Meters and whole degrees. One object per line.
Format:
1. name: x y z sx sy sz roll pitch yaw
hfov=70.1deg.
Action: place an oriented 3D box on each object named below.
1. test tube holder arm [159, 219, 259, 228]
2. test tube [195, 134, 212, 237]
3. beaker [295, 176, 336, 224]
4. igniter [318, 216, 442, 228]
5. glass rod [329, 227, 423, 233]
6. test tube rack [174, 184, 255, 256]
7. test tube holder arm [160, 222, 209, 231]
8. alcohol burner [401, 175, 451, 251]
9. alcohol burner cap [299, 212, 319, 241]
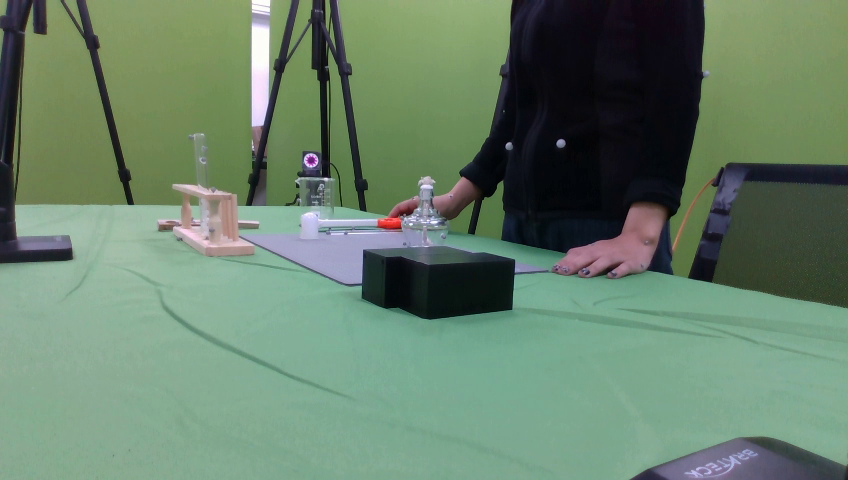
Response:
1. test tube holder arm: -0.390 -0.030 1.107 0.179 0.015 0.013 -3 44 -39
2. test tube: -0.320 -0.079 0.880 0.017 0.150 0.017 -3 3 1
3. beaker: -0.224 -0.080 1.247 0.084 0.100 0.073 -1 8 -18
4. igniter: -0.089 -0.035 1.221 0.278 0.025 0.057 -2 2 -31
5. glass rod: -0.087 -0.019 1.148 0.201 0.008 0.008 -3 8 -32
6. test tube rack: -0.327 -0.036 0.928 0.067 0.085 0.241 -2 9 -32
7. test tube holder arm: -0.423 -0.024 1.075 0.088 0.015 0.010 -3 44 -38
8. alcohol burner: 0.003 -0.042 0.947 0.078 0.119 0.078 1 9 0
9. alcohol burner cap: -0.195 -0.024 1.025 0.034 0.048 0.034 3 7 0
